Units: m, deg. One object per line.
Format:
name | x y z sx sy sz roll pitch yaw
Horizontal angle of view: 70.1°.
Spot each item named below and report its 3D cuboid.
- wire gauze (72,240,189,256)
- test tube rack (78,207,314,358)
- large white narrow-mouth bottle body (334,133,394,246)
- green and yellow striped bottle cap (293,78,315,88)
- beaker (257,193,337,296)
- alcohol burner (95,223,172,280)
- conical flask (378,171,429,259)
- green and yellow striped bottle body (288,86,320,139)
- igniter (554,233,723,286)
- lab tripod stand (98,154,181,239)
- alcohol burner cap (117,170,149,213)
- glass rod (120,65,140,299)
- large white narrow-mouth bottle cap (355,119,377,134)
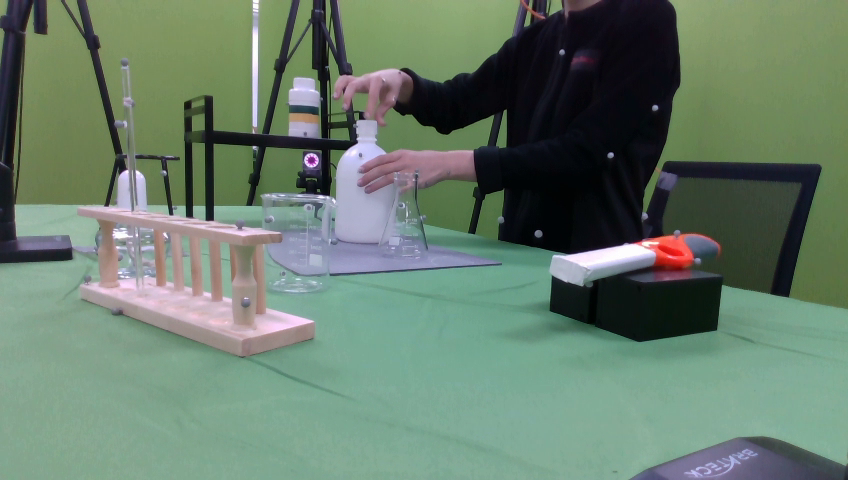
wire gauze | -0.399 0.013 0.820 0.126 0.011 0.121 -3 8 -37
test tube rack | -0.196 0.024 0.499 0.241 0.085 0.067 8 8 37
large white narrow-mouth bottle body | -0.099 -0.093 1.018 0.102 0.194 0.101 3 9 0
green and yellow striped bottle cap | -0.248 -0.323 1.256 0.045 0.020 0.045 4 8 0
beaker | -0.130 0.003 0.628 0.084 0.100 0.074 5 8 15
alcohol burner | -0.320 -0.017 0.667 0.078 0.119 0.078 0 7 0
conical flask | -0.027 -0.037 0.869 0.075 0.122 0.075 3 7 0
green and yellow striped bottle body | -0.250 -0.272 1.261 0.063 0.119 0.063 3 7 0
igniter | 0.214 0.015 0.570 0.278 0.025 0.057 -5 22 -44
lab tripod stand | -0.427 -0.066 0.942 0.148 0.131 0.148 1 6 0
alcohol burner cap | -0.320 -0.052 0.661 0.034 0.048 0.034 -3 -1 0
glass rod | -0.249 -0.047 0.513 0.008 0.199 0.008 -1 4 0
large white narrow-mouth bottle cap | -0.095 -0.187 1.001 0.038 0.024 0.037 3 9 0
